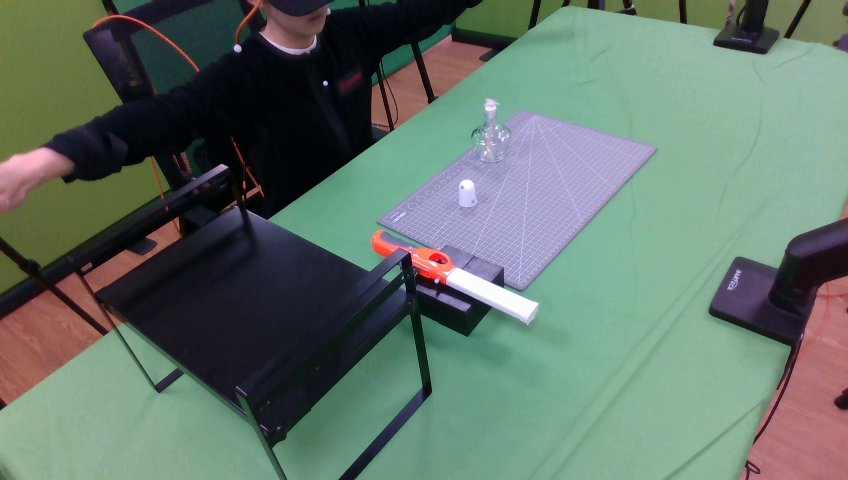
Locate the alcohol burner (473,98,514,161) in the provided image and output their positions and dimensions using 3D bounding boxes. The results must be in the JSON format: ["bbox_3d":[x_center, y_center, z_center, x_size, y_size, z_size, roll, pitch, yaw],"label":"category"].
[{"bbox_3d":[0.127,-0.208,1.123,0.078,0.119,0.077,-5,39,5],"label":"alcohol burner"}]

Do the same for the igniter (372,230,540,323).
[{"bbox_3d":[0.032,0.045,0.842,0.274,0.025,0.057,24,47,29],"label":"igniter"}]

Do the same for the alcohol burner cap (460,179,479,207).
[{"bbox_3d":[0.078,-0.083,1.041,0.034,0.048,0.033,-5,42,5],"label":"alcohol burner cap"}]
